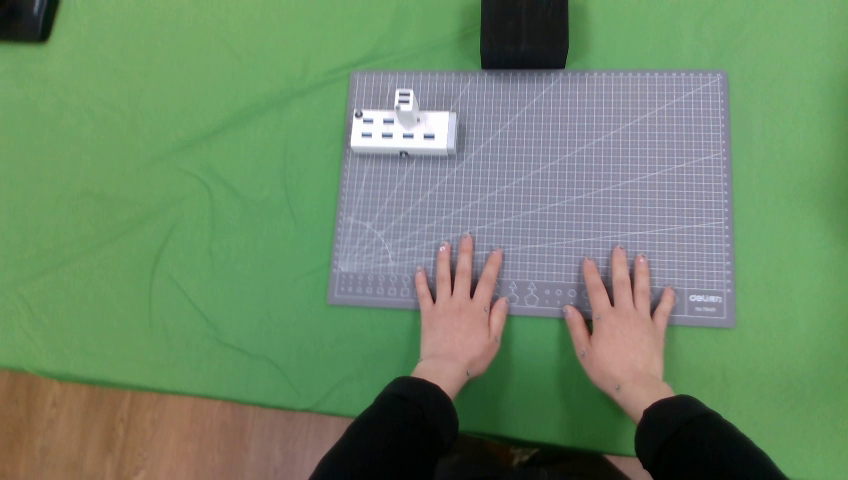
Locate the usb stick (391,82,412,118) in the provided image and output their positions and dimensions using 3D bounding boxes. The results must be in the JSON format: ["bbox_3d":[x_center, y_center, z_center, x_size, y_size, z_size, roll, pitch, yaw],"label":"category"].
[{"bbox_3d":[-0.026,-0.158,0.697,0.021,0.059,0.027,6,80,1],"label":"usb stick"}]

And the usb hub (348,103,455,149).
[{"bbox_3d":[-0.027,-0.137,0.723,0.125,0.025,0.049,3,78,7],"label":"usb hub"}]
